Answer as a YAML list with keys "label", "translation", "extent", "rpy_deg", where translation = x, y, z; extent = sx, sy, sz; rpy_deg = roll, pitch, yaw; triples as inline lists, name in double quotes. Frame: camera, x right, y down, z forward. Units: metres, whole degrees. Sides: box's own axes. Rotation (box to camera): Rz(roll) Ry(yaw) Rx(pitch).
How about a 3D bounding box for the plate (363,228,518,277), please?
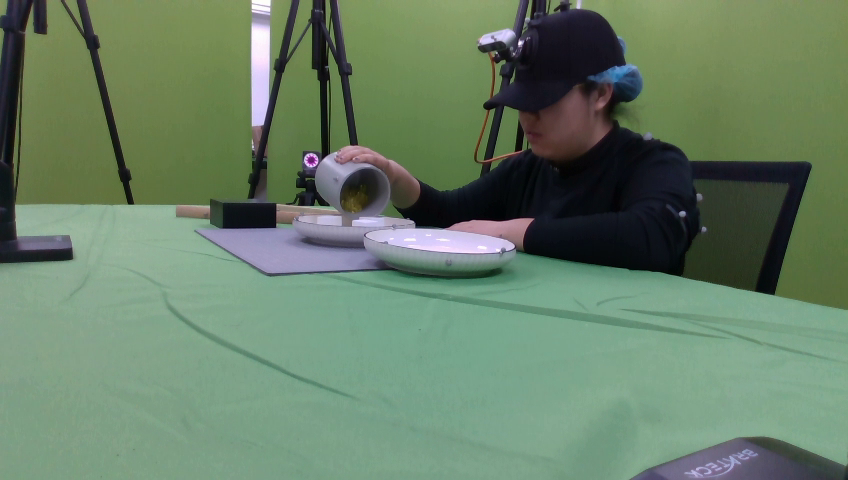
- label: "plate"
  translation: [0.021, 0.016, 0.817]
  extent: [0.209, 0.038, 0.209]
  rpy_deg: [4, 9, 0]

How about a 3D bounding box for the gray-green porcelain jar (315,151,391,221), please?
- label: "gray-green porcelain jar"
  translation: [-0.137, -0.104, 1.117]
  extent: [0.106, 0.106, 0.126]
  rpy_deg: [-2, 23, -33]

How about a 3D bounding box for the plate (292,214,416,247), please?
- label: "plate"
  translation: [-0.118, -0.017, 1.024]
  extent: [0.208, 0.039, 0.207]
  rpy_deg: [2, 7, 0]

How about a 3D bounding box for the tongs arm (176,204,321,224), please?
- label: "tongs arm"
  translation: [-0.333, -0.052, 1.273]
  extent: [0.387, 0.028, 0.028]
  rpy_deg: [4, 5, 4]

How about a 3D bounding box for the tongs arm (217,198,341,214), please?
- label: "tongs arm"
  translation: [-0.313, -0.064, 1.352]
  extent: [0.384, 0.026, 0.051]
  rpy_deg: [6, 8, 17]
